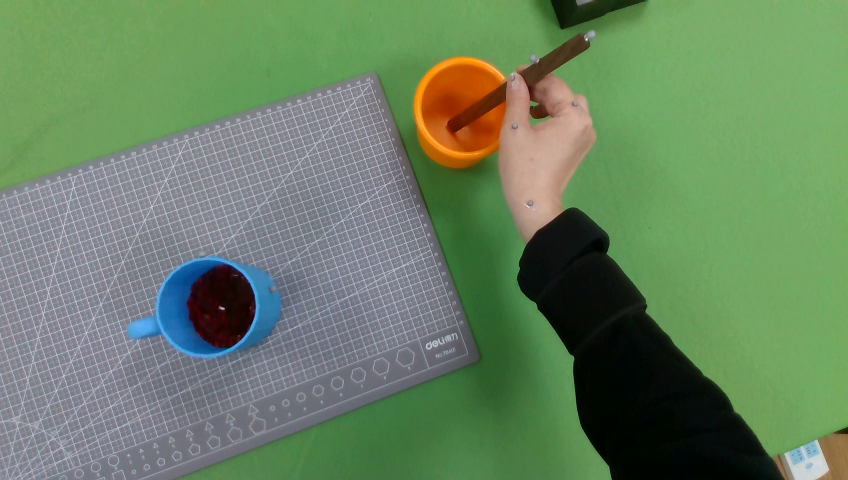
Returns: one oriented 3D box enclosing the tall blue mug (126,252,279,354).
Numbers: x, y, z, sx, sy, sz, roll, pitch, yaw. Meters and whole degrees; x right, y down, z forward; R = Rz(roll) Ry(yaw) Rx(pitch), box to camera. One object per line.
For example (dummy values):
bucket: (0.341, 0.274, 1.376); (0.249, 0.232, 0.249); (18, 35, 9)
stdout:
tall blue mug: (-0.180, 0.062, 0.508); (0.107, 0.108, 0.078); (-44, 90, -7)

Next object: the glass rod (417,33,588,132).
glass rod: (0.058, -0.129, 0.521); (0.008, 0.199, 0.008); (12, 70, -37)
